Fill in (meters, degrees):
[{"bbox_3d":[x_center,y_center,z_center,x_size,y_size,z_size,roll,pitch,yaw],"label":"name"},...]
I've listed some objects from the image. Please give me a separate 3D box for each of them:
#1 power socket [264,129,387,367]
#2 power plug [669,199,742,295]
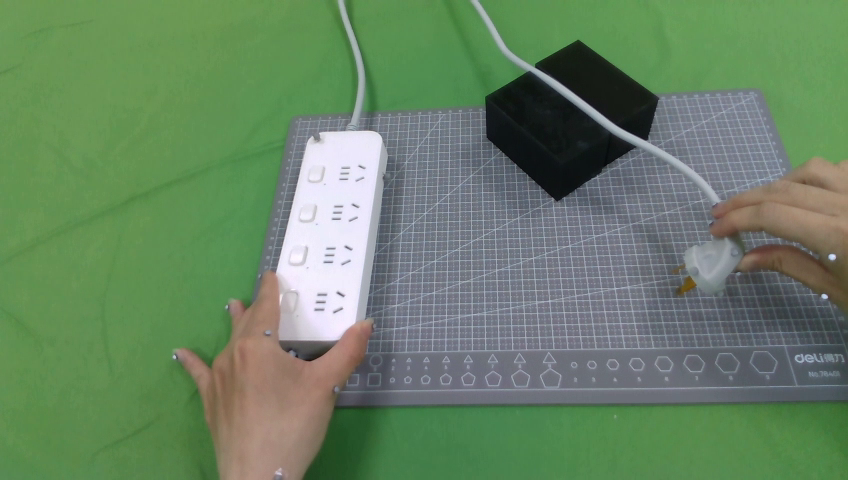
[{"bbox_3d":[-0.077,-0.007,0.504,0.072,0.033,0.224,1,57,6],"label":"power socket"},{"bbox_3d":[0.204,0.010,0.438,0.035,0.053,0.072,45,41,-5],"label":"power plug"}]
